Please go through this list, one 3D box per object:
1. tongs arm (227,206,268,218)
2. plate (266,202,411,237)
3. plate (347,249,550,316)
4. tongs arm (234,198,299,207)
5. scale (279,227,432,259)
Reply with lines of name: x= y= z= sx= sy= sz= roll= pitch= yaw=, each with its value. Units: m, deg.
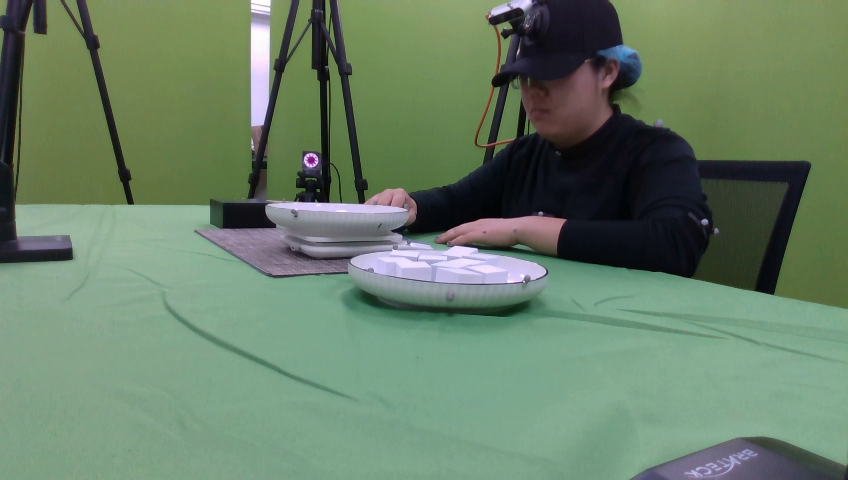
tongs arm: x=-0.247 y=-0.062 z=1.381 sx=0.389 sy=0.028 sz=0.028 roll=0 pitch=5 yaw=-21
plate: x=-0.123 y=-0.030 z=0.879 sx=0.208 sy=0.039 sz=0.207 roll=2 pitch=6 yaw=0
plate: x=0.025 y=0.042 z=0.627 sx=0.209 sy=0.038 sz=0.209 roll=2 pitch=7 yaw=0
tongs arm: x=-0.263 y=-0.076 z=1.460 sx=0.386 sy=0.026 sz=0.050 roll=3 pitch=8 yaw=-8
scale: x=-0.100 y=0.002 z=0.899 sx=0.202 sy=0.031 sz=0.148 roll=-1 pitch=8 yaw=-31
